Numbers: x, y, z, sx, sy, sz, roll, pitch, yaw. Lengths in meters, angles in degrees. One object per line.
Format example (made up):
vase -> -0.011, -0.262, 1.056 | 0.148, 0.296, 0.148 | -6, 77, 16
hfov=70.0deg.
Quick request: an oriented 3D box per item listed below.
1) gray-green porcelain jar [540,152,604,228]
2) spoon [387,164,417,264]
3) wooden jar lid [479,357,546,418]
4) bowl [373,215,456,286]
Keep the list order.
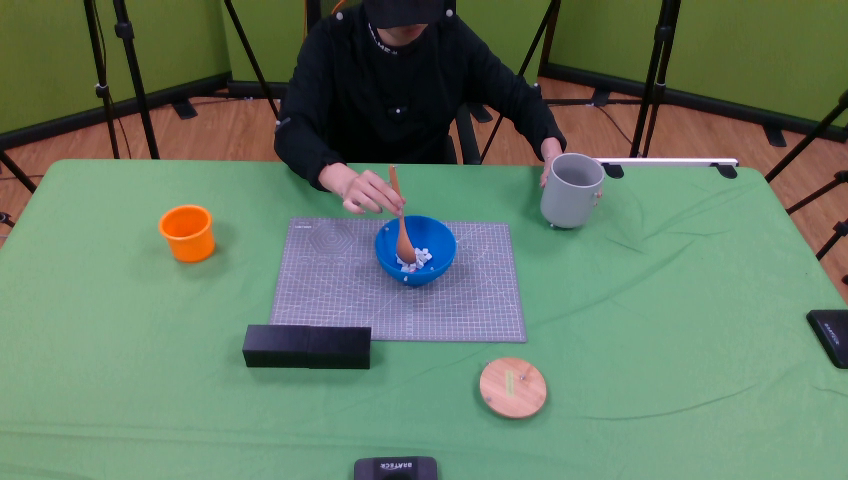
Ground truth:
gray-green porcelain jar -> 0.295, -0.096, 1.231 | 0.106, 0.127, 0.105 | 3, 48, -3
spoon -> -0.043, -0.043, 1.073 | 0.041, 0.194, 0.021 | 5, 24, 32
wooden jar lid -> 0.142, 0.240, 0.979 | 0.108, 0.021, 0.107 | 1, 46, -1
bowl -> -0.019, 0.032, 1.122 | 0.151, 0.077, 0.150 | 2, 46, -2
